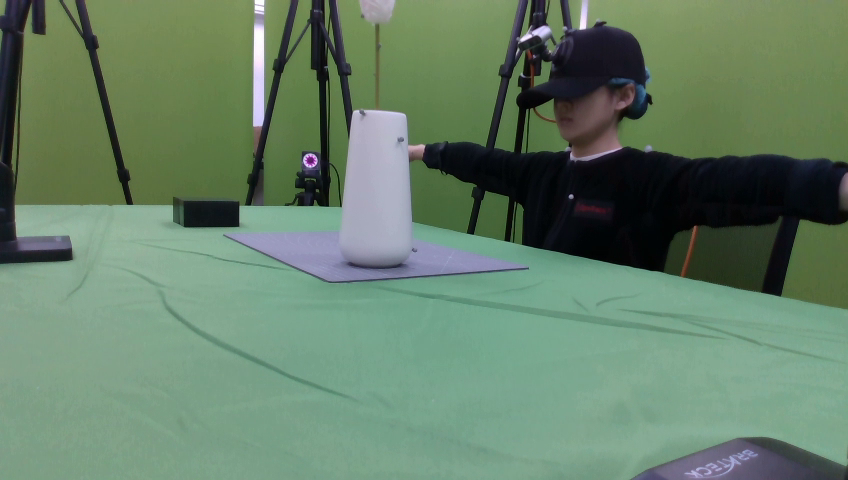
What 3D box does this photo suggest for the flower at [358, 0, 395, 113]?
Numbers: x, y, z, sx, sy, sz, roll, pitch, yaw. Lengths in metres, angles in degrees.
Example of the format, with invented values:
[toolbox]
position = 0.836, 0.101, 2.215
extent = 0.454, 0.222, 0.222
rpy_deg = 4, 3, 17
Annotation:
[flower]
position = -0.058, -0.142, 0.761
extent = 0.044, 0.361, 0.038
rpy_deg = 13, 27, 25

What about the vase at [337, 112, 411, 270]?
[vase]
position = -0.064, -0.064, 0.790
extent = 0.098, 0.200, 0.098
rpy_deg = 2, 7, 0
